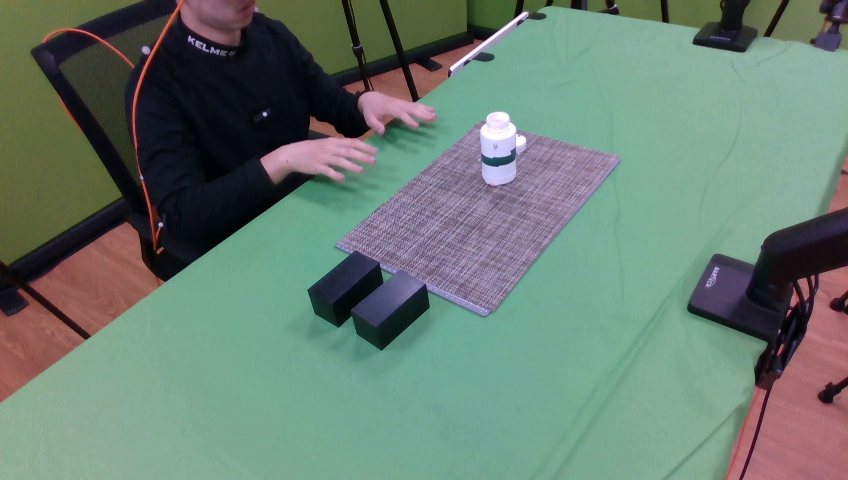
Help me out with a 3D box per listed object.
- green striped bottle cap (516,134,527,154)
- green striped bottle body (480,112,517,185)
[{"bbox_3d":[0.175,-0.183,1.158,0.044,0.020,0.044,-5,43,5],"label":"green striped bottle cap"},{"bbox_3d":[0.130,-0.162,1.057,0.063,0.120,0.063,-4,40,4],"label":"green striped bottle body"}]
